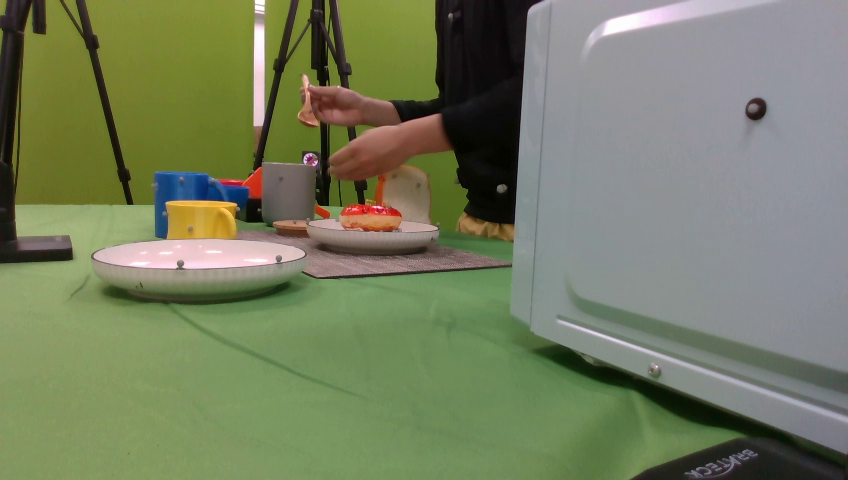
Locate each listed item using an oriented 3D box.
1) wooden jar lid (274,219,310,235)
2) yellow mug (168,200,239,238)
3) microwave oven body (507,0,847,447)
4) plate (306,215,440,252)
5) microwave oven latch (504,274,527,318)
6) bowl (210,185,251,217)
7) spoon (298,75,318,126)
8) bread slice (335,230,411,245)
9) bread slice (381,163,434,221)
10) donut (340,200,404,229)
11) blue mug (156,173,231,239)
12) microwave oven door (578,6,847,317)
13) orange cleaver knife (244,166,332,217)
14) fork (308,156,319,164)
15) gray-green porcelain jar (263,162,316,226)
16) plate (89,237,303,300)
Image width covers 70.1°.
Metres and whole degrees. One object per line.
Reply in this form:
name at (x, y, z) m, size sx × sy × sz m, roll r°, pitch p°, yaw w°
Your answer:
wooden jar lid at (-0.213, -0.023, 1.080) m, size 0.108 × 0.020 × 0.108 m, roll 3°, pitch 7°, yaw 0°
yellow mug at (-0.320, -0.023, 0.904) m, size 0.130 × 0.064 × 0.100 m, roll 9°, pitch 11°, yaw 36°
microwave oven body at (0.331, -0.042, 0.425) m, size 0.444 × 0.260 × 0.324 m, roll -2°, pitch 8°, yaw -31°
plate at (-0.079, -0.011, 0.950) m, size 0.209 × 0.038 × 0.209 m, roll 2°, pitch 8°, yaw 0°
microwave oven latch at (0.100, 0.041, 0.471) m, size 0.079 × 0.029 × 0.030 m, roll -1°, pitch 8°, yaw -28°
bowl at (-0.408, -0.064, 1.155) m, size 0.151 × 0.077 × 0.151 m, roll 2°, pitch 8°, yaw 0°
spoon at (-0.230, -0.277, 1.190) m, size 0.042 × 0.021 × 0.193 m, roll 16°, pitch 40°, yaw -27°
bread slice at (-0.074, -0.005, 0.938) m, size 0.105 × 0.019 × 0.131 m, roll -1°, pitch 4°, yaw -19°
bread slice at (-0.034, -0.076, 1.123) m, size 0.107 × 0.134 × 0.018 m, roll -4°, pitch 0°, yaw -26°
donut at (-0.081, -0.038, 0.944) m, size 0.099 × 0.048 × 0.099 m, roll 1°, pitch 4°, yaw 0°
blue mug at (-0.381, -0.057, 1.004) m, size 0.117 × 0.106 × 0.082 m, roll 0°, pitch 8°, yaw -12°
microwave oven door at (0.294, -0.067, 0.570) m, size 0.358 × 0.243 × 0.039 m, roll -3°, pitch 9°, yaw -31°
orange cleaver knife at (-0.301, -0.089, 1.351) m, size 0.212 × 0.077 × 0.012 m, roll 32°, pitch -11°, yaw -34°
fork at (-0.331, -0.144, 1.506) m, size 0.207 × 0.018 × 0.028 m, roll -42°, pitch -17°, yaw 22°
gray-green porcelain jar at (-0.271, -0.092, 1.217) m, size 0.106 × 0.126 × 0.106 m, roll 2°, pitch 7°, yaw 0°
plate at (-0.233, 0.029, 0.637) m, size 0.208 × 0.039 × 0.207 m, roll 2°, pitch 7°, yaw 0°
